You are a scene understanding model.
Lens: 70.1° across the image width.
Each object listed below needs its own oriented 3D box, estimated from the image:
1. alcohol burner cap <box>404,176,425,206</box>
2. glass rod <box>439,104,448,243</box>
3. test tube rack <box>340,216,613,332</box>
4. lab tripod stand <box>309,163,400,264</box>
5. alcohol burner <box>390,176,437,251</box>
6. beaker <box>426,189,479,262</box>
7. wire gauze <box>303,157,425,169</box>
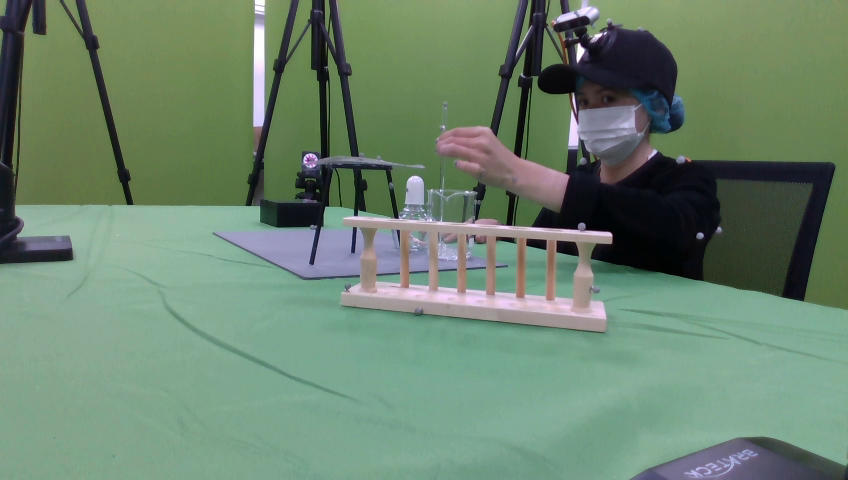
[{"bbox_3d":[-0.015,-0.077,0.951,0.034,0.048,0.034,2,4,0],"label":"alcohol burner cap"},{"bbox_3d":[0.027,-0.093,0.865,0.008,0.199,0.008,2,10,0],"label":"glass rod"},{"bbox_3d":[0.047,0.026,0.568,0.242,0.085,0.067,4,7,13],"label":"test tube rack"},{"bbox_3d":[-0.091,-0.037,0.813,0.148,0.131,0.148,1,6,0],"label":"lab tripod stand"},{"bbox_3d":[-0.016,-0.042,0.955,0.078,0.119,0.078,4,5,0],"label":"alcohol burner"},{"bbox_3d":[0.039,-0.022,0.871,0.074,0.100,0.084,4,8,12],"label":"beaker"},{"bbox_3d":[-0.082,-0.102,0.799,0.126,0.011,0.121,-1,7,-30],"label":"wire gauze"}]
